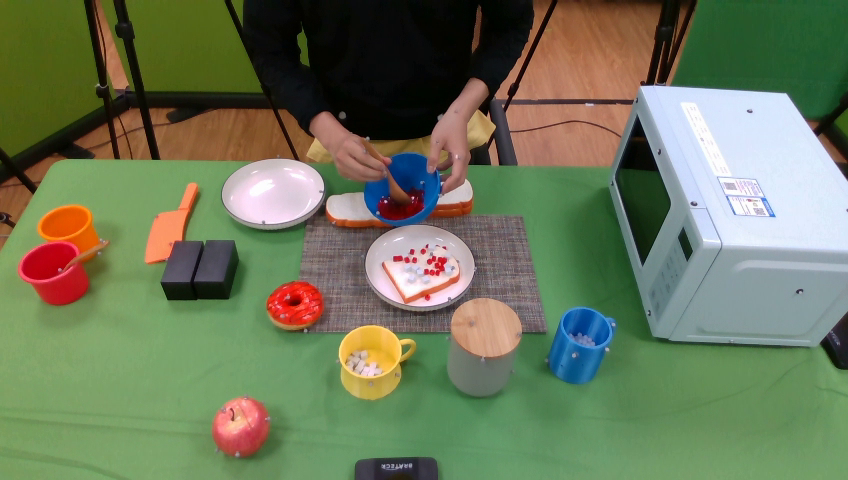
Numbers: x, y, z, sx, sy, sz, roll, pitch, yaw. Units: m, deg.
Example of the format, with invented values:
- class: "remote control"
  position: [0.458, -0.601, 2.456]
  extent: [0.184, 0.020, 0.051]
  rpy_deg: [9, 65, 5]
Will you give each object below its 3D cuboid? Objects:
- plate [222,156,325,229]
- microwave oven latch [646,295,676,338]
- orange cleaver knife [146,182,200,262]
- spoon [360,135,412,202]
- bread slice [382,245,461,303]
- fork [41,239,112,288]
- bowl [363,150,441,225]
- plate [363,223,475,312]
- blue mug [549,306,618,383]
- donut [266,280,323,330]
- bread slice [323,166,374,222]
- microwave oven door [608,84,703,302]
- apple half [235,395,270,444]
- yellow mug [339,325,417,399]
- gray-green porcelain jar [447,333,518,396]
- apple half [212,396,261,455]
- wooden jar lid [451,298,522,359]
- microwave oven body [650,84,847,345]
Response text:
- class: "plate"
  position: [-0.308, -0.095, 1.251]
  extent: [0.209, 0.038, 0.208]
  rpy_deg: [3, 47, -2]
- class: "microwave oven latch"
  position: [0.413, 0.133, 1.060]
  extent: [0.030, 0.029, 0.078]
  rpy_deg: [4, 46, 1]
- class: "orange cleaver knife"
  position: [-0.494, -0.039, 1.198]
  extent: [0.077, 0.012, 0.210]
  rpy_deg: [-3, 48, 2]
- class: "spoon"
  position: [-0.070, -0.123, 1.080]
  extent: [0.041, 0.195, 0.021]
  rpy_deg: [9, 60, 30]
- class: "bread slice"
  position: [0.000, 0.054, 1.129]
  extent: [0.131, 0.019, 0.104]
  rpy_deg: [-21, 51, -20]
- class: "fork"
  position: [-0.591, 0.040, 1.028]
  extent: [0.207, 0.019, 0.028]
  rpy_deg: [-27, 37, 29]
- class: "bowl"
  position: [-0.031, -0.086, 1.145]
  extent: [0.151, 0.077, 0.150]
  rpy_deg: [-8, 62, 16]
- class: "plate"
  position: [-0.009, 0.054, 1.126]
  extent: [0.208, 0.039, 0.206]
  rpy_deg: [2, 46, -2]
- class: "blue mug"
  position: [0.269, 0.167, 0.997]
  extent: [0.116, 0.106, 0.082]
  rpy_deg: [-19, 50, -21]
- class: "donut"
  position: [-0.223, 0.112, 1.051]
  extent: [0.099, 0.048, 0.098]
  rpy_deg: [2, 46, -2]
- class: "bread slice"
  position: [-0.140, -0.092, 1.224]
  extent: [0.134, 0.018, 0.106]
  rpy_deg: [-19, 51, 6]
- class: "microwave oven door"
  position: [0.424, -0.096, 1.138]
  extent: [0.039, 0.245, 0.353]
  rpy_deg: [2, 46, -1]
- class: "apple half"
  position: [-0.245, 0.260, 0.893]
  extent: [0.033, 0.082, 0.081]
  rpy_deg: [-29, 55, -22]
- class: "yellow mug"
  position: [-0.072, 0.190, 0.978]
  extent: [0.131, 0.064, 0.099]
  rpy_deg: [-17, 50, -20]
- class: "gray-green porcelain jar"
  position: [0.091, 0.178, 0.960]
  extent: [0.106, 0.127, 0.105]
  rpy_deg: [2, 46, -2]
- class: "apple half"
  position: [-0.276, 0.276, 0.877]
  extent: [0.053, 0.075, 0.080]
  rpy_deg: [-29, 58, -21]
- class: "wooden jar lid"
  position: [0.093, 0.135, 0.914]
  extent: [0.108, 0.021, 0.107]
  rpy_deg: [3, 48, -3]
- class: "microwave oven body"
  position: [0.569, -0.054, 1.116]
  extent: [0.326, 0.261, 0.439]
  rpy_deg: [2, 46, -1]
